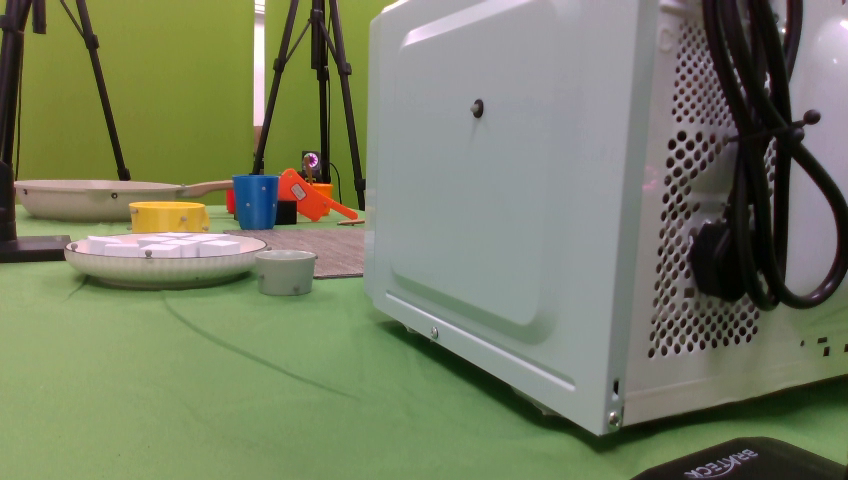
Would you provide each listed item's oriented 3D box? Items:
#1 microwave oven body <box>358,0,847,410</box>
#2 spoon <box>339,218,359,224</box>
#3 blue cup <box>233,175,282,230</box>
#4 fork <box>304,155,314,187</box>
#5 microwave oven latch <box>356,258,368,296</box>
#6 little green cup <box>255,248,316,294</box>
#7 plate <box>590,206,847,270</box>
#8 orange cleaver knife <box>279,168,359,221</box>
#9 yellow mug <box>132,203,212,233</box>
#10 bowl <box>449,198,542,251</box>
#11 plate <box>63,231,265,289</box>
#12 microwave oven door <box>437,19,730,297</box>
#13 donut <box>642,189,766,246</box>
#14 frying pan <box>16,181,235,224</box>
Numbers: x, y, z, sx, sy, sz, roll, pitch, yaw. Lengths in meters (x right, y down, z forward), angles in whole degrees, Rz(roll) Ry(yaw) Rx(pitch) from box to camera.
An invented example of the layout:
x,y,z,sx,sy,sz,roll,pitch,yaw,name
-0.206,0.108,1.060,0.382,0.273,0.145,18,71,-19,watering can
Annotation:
x,y,z,sx,sy,sz,roll,pitch,yaw,name
0.210,-0.051,0.471,0.444,0.260,0.324,-1,7,-28,microwave oven body
-0.087,-0.041,1.268,0.193,0.021,0.041,3,18,14,spoon
-0.314,-0.071,1.141,0.093,0.100,0.092,0,7,0,blue cup
-0.268,-0.134,1.447,0.028,0.018,0.207,2,-36,-1,fork
-0.019,0.031,0.528,0.079,0.029,0.030,-1,7,-24,microwave oven latch
-0.144,0.032,0.627,0.061,0.038,0.061,4,7,0,little green cup
0.247,-0.004,0.509,0.209,0.038,0.209,3,5,0,plate
-0.236,-0.084,1.332,0.212,0.077,0.012,31,-9,-31,orange cleaver knife
-0.356,-0.020,0.878,0.099,0.064,0.131,4,7,22,yellow mug
0.114,-0.025,0.988,0.151,0.077,0.151,2,8,0,bowl
-0.288,0.021,0.687,0.208,0.039,0.207,2,8,0,plate
0.181,-0.076,0.618,0.358,0.243,0.039,-2,9,-28,microwave oven door
0.238,-0.018,0.519,0.099,0.048,0.099,5,3,0,donut
-0.553,-0.097,1.265,0.490,0.102,0.305,-10,13,-24,frying pan
